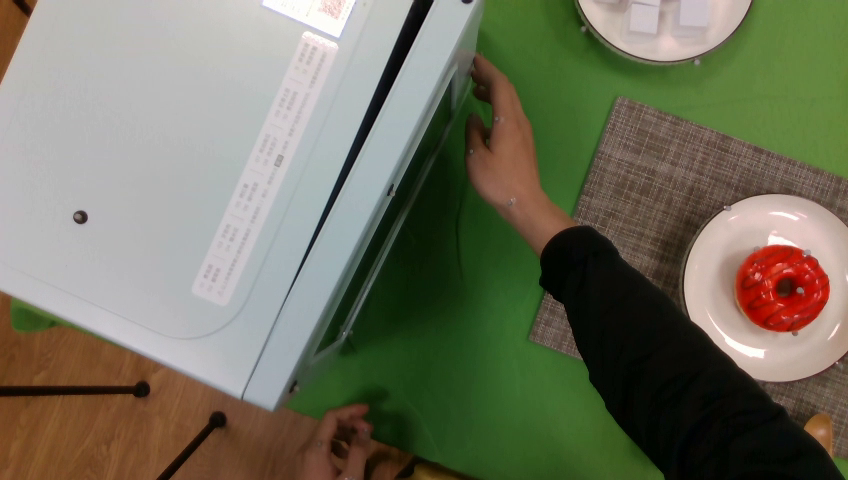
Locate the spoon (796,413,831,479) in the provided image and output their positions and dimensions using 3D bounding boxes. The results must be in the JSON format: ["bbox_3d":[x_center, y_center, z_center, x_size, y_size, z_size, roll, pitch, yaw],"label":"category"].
[{"bbox_3d":[0.454,0.286,0.678,0.042,0.021,0.193,-16,89,-18],"label":"spoon"}]

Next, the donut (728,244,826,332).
[{"bbox_3d":[0.386,0.053,0.666,0.099,0.048,0.099,0,89,4],"label":"donut"}]

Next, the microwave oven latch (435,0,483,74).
[{"bbox_3d":[0.039,-0.229,0.677,0.030,0.029,0.079,26,90,2],"label":"microwave oven latch"}]

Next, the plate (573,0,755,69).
[{"bbox_3d":[0.269,-0.295,0.693,0.207,0.039,0.207,0,88,1],"label":"plate"}]

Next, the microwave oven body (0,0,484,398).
[{"bbox_3d":[-0.170,-0.130,0.583,0.326,0.260,0.441,24,90,2],"label":"microwave oven body"}]

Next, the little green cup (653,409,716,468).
[{"bbox_3d":[0.288,0.219,0.678,0.061,0.038,0.061,0,86,1],"label":"little green cup"}]

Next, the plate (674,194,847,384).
[{"bbox_3d":[0.381,0.054,0.677,0.209,0.038,0.209,0,89,2],"label":"plate"}]

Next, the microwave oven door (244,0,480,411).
[{"bbox_3d":[-0.047,-0.028,0.572,0.039,0.244,0.355,26,89,2],"label":"microwave oven door"}]
